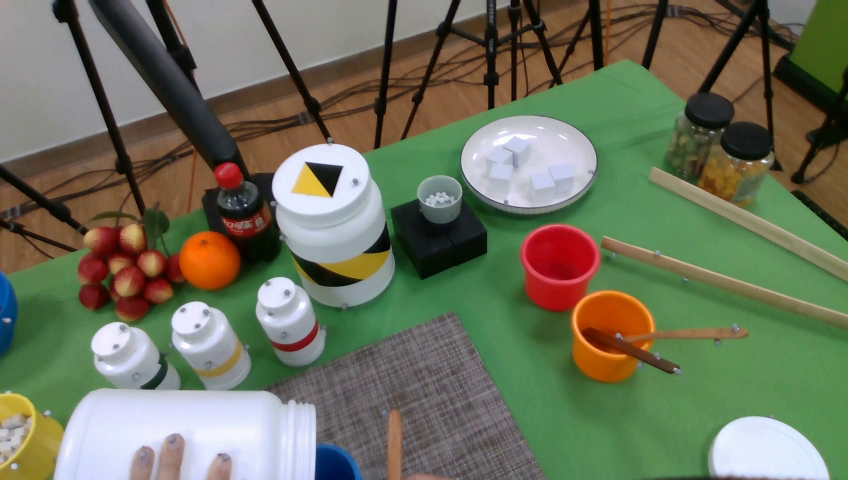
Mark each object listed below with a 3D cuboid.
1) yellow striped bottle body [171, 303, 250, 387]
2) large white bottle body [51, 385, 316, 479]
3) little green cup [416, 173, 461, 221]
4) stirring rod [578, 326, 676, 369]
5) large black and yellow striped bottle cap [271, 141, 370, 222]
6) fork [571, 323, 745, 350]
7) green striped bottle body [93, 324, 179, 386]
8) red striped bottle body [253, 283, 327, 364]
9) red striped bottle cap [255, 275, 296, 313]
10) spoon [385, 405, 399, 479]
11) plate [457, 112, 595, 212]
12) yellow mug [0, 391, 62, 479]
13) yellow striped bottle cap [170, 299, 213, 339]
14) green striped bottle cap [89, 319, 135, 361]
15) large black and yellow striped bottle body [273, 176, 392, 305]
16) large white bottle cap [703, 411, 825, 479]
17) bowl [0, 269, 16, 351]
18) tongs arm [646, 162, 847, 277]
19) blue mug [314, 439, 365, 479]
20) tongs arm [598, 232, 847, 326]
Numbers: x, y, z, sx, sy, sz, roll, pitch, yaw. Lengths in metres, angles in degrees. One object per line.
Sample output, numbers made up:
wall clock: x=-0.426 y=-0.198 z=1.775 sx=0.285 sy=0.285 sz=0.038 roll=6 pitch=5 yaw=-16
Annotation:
yellow striped bottle body: x=-0.256 y=0.121 z=0.720 sx=0.063 sy=0.121 sz=0.062 roll=-3 pitch=50 yaw=4
large white bottle body: x=-0.187 y=0.187 z=0.502 sx=0.185 sy=0.131 sz=0.129 roll=4 pitch=49 yaw=-14
little green cup: x=0.020 y=-0.057 z=0.828 sx=0.061 sy=0.039 sz=0.061 roll=-2 pitch=48 yaw=2
stirring rod: x=0.218 y=0.116 z=0.671 sx=0.014 sy=0.006 sz=0.175 roll=-18 pitch=8 yaw=-13
large black and yellow striped bottle cap: x=-0.122 y=-0.070 z=0.711 sx=0.115 sy=0.019 sz=0.114 roll=-4 pitch=53 yaw=5
fork: x=0.248 y=0.104 z=0.669 sx=0.207 sy=0.019 sz=0.028 roll=-20 pitch=30 yaw=52
green striped bottle body: x=-0.339 y=0.143 z=0.710 sx=0.063 sy=0.120 sz=0.062 roll=-2 pitch=50 yaw=3
red striped bottle body: x=-0.164 y=0.096 z=0.734 sx=0.063 sy=0.121 sz=0.062 roll=-7 pitch=49 yaw=8
red striped bottle cap: x=-0.170 y=0.061 z=0.693 sx=0.044 sy=0.018 sz=0.044 roll=-1 pitch=48 yaw=1
spoon: x=-0.028 y=0.244 z=0.529 sx=0.041 sy=0.022 sz=0.192 roll=0 pitch=71 yaw=1
plate: x=0.155 y=-0.117 z=0.931 sx=0.209 sy=0.038 sz=0.207 roll=-2 pitch=51 yaw=3
yellow mug: x=-0.474 y=0.241 z=0.677 sx=0.100 sy=0.064 sz=0.129 roll=-13 pitch=51 yaw=-6
yellow striped bottle cap: x=-0.261 y=0.088 z=0.679 sx=0.044 sy=0.019 sz=0.044 roll=-1 pitch=46 yaw=1
green striped bottle cap: x=-0.345 y=0.110 z=0.669 sx=0.044 sy=0.020 sz=0.044 roll=-1 pitch=50 yaw=2
large black and yellow striped bottle body: x=-0.116 y=-0.016 z=0.779 sx=0.131 sy=0.186 sz=0.129 roll=-2 pitch=51 yaw=3
large white bottle cap: x=0.356 y=0.236 z=0.637 sx=0.115 sy=0.018 sz=0.113 roll=-3 pitch=50 yaw=3
bowl: x=-0.599 y=0.109 z=0.788 sx=0.151 sy=0.077 sz=0.150 roll=-2 pitch=51 yaw=3
tongs arm: x=0.470 y=-0.009 z=0.818 sx=0.028 sy=0.028 sz=0.384 roll=-35 pitch=56 yaw=-30
blue mug: x=-0.106 y=0.266 z=0.591 sx=0.081 sy=0.107 sz=0.116 roll=29 pitch=58 yaw=26
tongs arm: x=0.417 y=0.048 z=0.773 sx=0.382 sy=0.027 sz=0.050 roll=22 pitch=52 yaw=20
